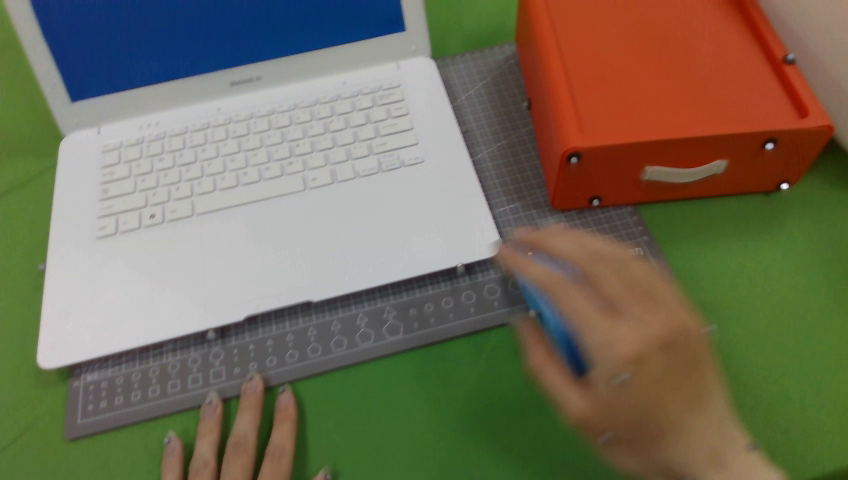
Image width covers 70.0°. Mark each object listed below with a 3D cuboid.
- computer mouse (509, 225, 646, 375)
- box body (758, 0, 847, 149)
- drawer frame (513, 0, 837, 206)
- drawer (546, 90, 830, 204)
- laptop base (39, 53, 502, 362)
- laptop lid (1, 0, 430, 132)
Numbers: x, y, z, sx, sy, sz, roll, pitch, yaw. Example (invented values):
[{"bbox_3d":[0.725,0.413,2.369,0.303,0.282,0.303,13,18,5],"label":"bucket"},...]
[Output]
[{"bbox_3d":[0.107,0.037,0.431,0.063,0.041,0.116,-17,56,-4],"label":"computer mouse"},{"bbox_3d":[0.421,-0.238,0.518,0.254,0.162,0.360,-18,57,-8],"label":"box body"},{"bbox_3d":[0.190,-0.139,0.515,0.202,0.083,0.211,-6,56,0],"label":"drawer frame"},{"bbox_3d":[0.191,-0.137,0.515,0.194,0.074,0.209,-5,56,0],"label":"drawer"},{"bbox_3d":[-0.135,-0.043,0.516,0.355,0.023,0.233,-14,60,-5],"label":"laptop base"},{"bbox_3d":[-0.184,-0.238,0.525,0.357,0.243,0.013,-15,27,-4],"label":"laptop lid"}]
